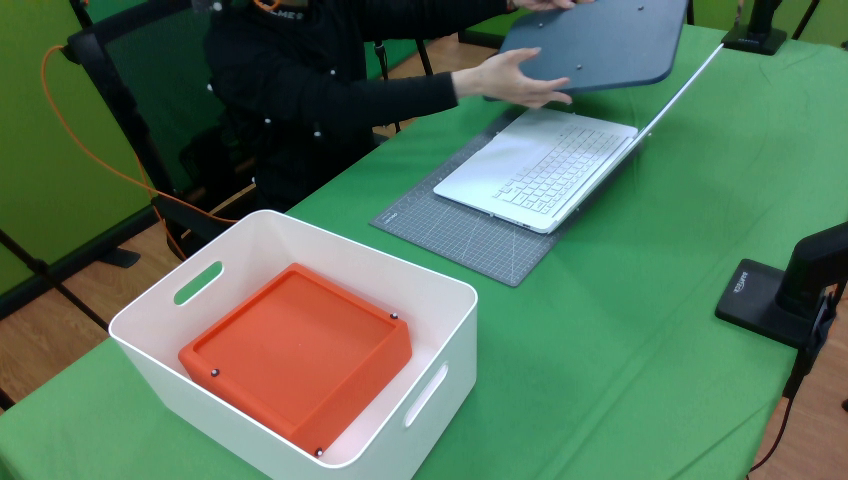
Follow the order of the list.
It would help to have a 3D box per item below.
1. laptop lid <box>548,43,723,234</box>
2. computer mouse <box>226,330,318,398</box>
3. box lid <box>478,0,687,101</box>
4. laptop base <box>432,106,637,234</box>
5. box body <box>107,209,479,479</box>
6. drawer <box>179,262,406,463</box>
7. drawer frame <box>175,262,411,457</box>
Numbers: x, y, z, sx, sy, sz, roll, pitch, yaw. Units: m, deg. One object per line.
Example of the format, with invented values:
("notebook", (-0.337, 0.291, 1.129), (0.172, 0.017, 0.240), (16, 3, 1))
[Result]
("laptop lid", (0.336, -0.160, 0.956), (0.013, 0.241, 0.358), (43, 54, 8))
("computer mouse", (-0.202, 0.158, 0.804), (0.118, 0.041, 0.062), (-29, 40, -33))
("box lid", (0.299, -0.376, 1.174), (0.369, 0.015, 0.263), (3, 55, 33))
("laptop base", (0.210, -0.142, 1.111), (0.233, 0.023, 0.355), (21, 48, 33))
("box body", (-0.140, 0.136, 0.725), (0.361, 0.161, 0.254), (19, 47, 28))
("drawer", (-0.163, 0.145, 0.770), (0.210, 0.073, 0.195), (25, 51, 31))
("drawer frame", (-0.162, 0.145, 0.770), (0.212, 0.083, 0.202), (24, 49, 30))
